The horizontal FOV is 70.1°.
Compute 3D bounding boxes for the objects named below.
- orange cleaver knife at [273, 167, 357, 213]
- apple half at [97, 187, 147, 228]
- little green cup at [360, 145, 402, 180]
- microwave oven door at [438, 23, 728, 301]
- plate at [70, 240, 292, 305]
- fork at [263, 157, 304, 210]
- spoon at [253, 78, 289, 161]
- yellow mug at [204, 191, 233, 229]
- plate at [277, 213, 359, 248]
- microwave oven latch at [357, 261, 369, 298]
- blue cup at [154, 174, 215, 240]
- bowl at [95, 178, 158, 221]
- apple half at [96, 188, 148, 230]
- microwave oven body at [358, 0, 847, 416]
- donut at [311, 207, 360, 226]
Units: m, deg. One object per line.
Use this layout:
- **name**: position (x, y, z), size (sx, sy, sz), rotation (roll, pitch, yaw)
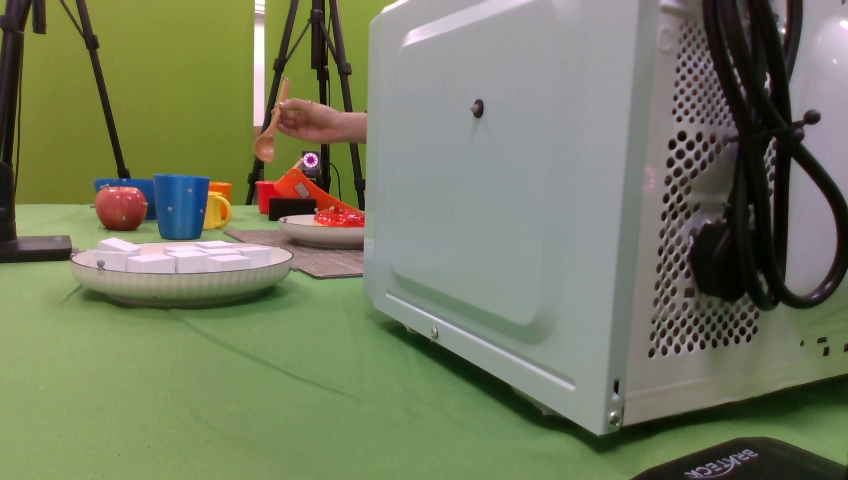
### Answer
- **orange cleaver knife**: position (-0.238, -0.091, 1.381), size (0.212, 0.077, 0.012), rotation (31, 1, -19)
- **apple half**: position (-0.534, -0.059, 1.071), size (0.082, 0.081, 0.032), rotation (-1, 11, -25)
- **little green cup**: position (-0.064, -0.120, 0.943), size (0.061, 0.038, 0.061), rotation (-20, 10, 4)
- **microwave oven door**: position (0.181, -0.072, 0.620), size (0.358, 0.243, 0.039), rotation (-2, 8, -29)
- **plate**: position (-0.242, 0.031, 0.618), size (0.208, 0.039, 0.207), rotation (2, 8, 0)
- **fork**: position (-0.345, -0.143, 1.505), size (0.028, 0.019, 0.207), rotation (-5, 45, 28)
- **spoon**: position (-0.282, -0.230, 1.143), size (0.042, 0.193, 0.021), rotation (29, -28, -33)
- **yellow mug**: position (-0.415, -0.057, 1.131), size (0.130, 0.064, 0.100), rotation (6, 7, 16)
- **plate**: position (-0.134, -0.017, 0.993), size (0.209, 0.038, 0.209), rotation (2, 8, 0)
- **microwave oven latch**: position (-0.019, 0.033, 0.530), size (0.079, 0.029, 0.030), rotation (0, 7, -26)
- **blue cup**: position (-0.391, -0.053, 0.978), size (0.093, 0.100, 0.092), rotation (4, 6, 0)
- **bowl**: position (-0.576, -0.081, 1.217), size (0.151, 0.077, 0.151), rotation (3, 8, 0)
- **apple half**: position (-0.517, -0.052, 1.036), size (0.081, 0.074, 0.053), rotation (3, 10, -26)
- **microwave oven body**: position (0.211, -0.047, 0.474), size (0.444, 0.260, 0.324), rotation (-1, 7, -28)
- **donut**: position (-0.137, -0.029, 0.995), size (0.099, 0.048, 0.099), rotation (4, 9, 0)
